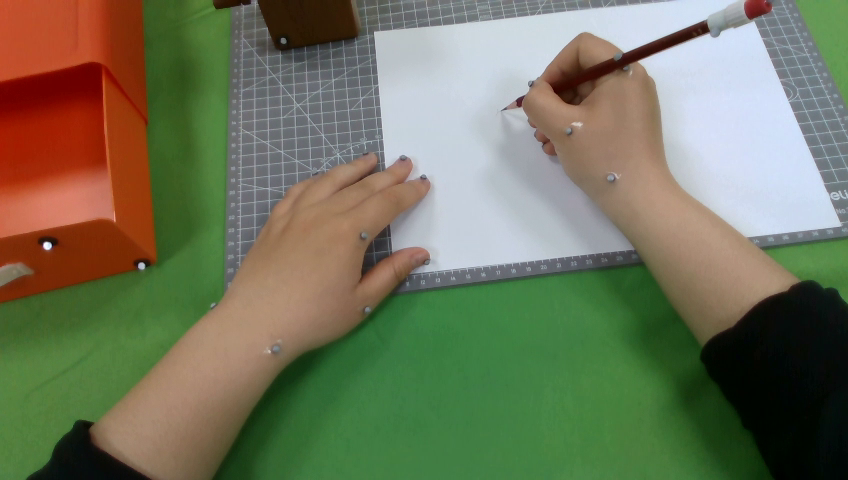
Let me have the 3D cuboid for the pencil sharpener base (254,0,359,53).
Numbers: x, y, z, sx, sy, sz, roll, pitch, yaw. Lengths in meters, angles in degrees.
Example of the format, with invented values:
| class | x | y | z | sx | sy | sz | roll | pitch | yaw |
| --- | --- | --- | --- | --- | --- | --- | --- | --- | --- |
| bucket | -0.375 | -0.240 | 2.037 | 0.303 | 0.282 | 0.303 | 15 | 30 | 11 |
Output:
| class | x | y | z | sx | sy | sz | roll | pitch | yaw |
| --- | --- | --- | --- | --- | --- | --- | --- | --- | --- |
| pencil sharpener base | -0.096 | -0.199 | 0.445 | 0.077 | 0.108 | 0.061 | -13 | 65 | -2 |

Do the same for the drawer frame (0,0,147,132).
| class | x | y | z | sx | sy | sz | roll | pitch | yaw |
| --- | --- | --- | --- | --- | --- | --- | --- | --- | --- |
| drawer frame | -0.325 | -0.163 | 0.456 | 0.202 | 0.083 | 0.211 | -14 | 65 | -3 |

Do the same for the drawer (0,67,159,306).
| class | x | y | z | sx | sy | sz | roll | pitch | yaw |
| --- | --- | --- | --- | --- | --- | --- | --- | --- | --- |
| drawer | -0.296 | -0.060 | 0.410 | 0.194 | 0.074 | 0.210 | -15 | 66 | -3 |

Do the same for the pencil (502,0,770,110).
| class | x | y | z | sx | sy | sz | roll | pitch | yaw |
| --- | --- | --- | --- | --- | --- | --- | --- | --- | --- |
| pencil | 0.110 | -0.104 | 0.366 | 0.012 | 0.193 | 0.012 | 3 | 84 | -33 |

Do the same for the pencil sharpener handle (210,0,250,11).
| class | x | y | z | sx | sy | sz | roll | pitch | yaw |
| --- | --- | --- | --- | --- | --- | --- | --- | --- | --- |
| pencil sharpener handle | -0.147 | -0.193 | 0.431 | 0.030 | 0.068 | 0.035 | -13 | 63 | -2 |
